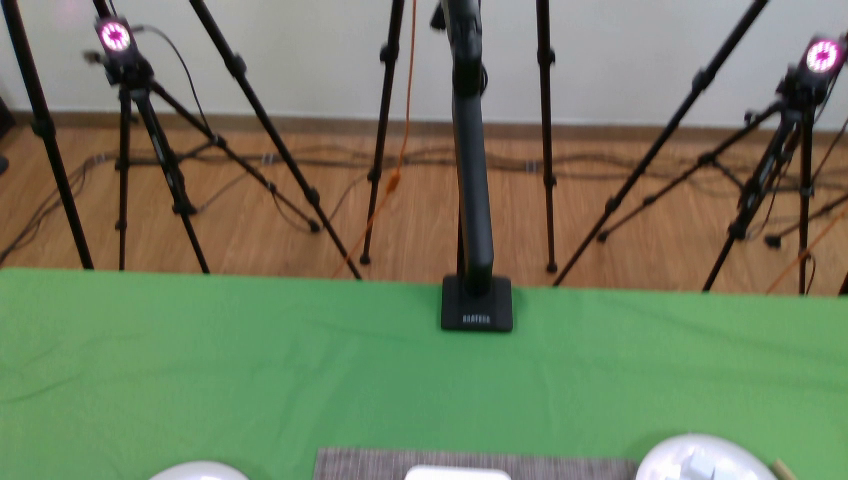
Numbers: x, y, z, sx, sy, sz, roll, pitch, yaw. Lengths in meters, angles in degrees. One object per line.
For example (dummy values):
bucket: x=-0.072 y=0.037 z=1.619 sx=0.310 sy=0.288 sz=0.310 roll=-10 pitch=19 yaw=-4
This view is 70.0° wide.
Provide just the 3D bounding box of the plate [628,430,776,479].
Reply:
plate: x=0.371 y=0.356 z=0.798 sx=0.208 sy=0.039 sz=0.205 roll=0 pitch=50 yaw=0

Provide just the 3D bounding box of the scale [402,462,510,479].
scale: x=0.040 y=0.388 z=0.773 sx=0.148 sy=0.032 sz=0.199 roll=2 pitch=50 yaw=2

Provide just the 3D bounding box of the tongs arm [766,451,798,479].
tongs arm: x=0.575 y=0.429 z=0.742 sx=0.028 sy=0.028 sz=0.383 roll=-21 pitch=53 yaw=-19

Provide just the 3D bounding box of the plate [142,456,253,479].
plate: x=-0.304 y=0.386 z=0.779 sx=0.209 sy=0.038 sz=0.207 roll=0 pitch=50 yaw=1
